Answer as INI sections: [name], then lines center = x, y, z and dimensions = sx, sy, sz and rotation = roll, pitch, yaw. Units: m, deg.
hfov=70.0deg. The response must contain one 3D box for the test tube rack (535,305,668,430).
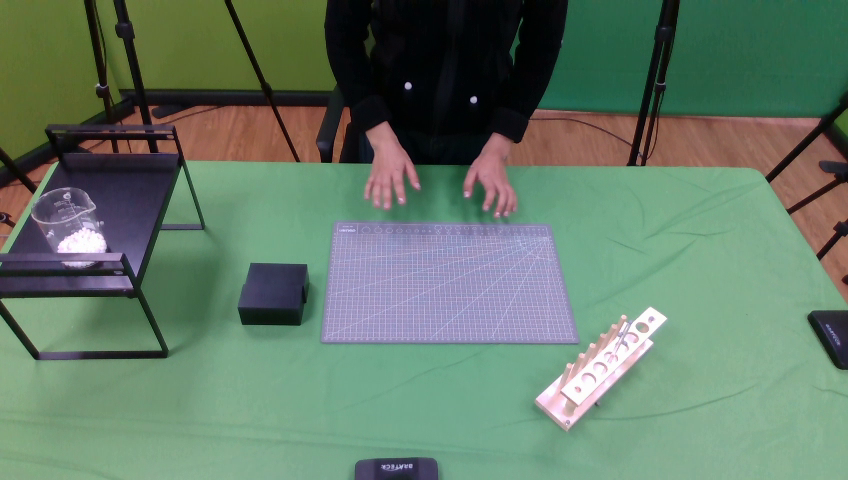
[test tube rack]
center = 0.290, 0.193, 0.984
dimensions = 0.242, 0.085, 0.066
rotation = -32, 56, -30

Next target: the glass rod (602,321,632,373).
[glass rod]
center = 0.286, 0.173, 0.913
dimensions = 0.008, 0.201, 0.008
rotation = -1, 53, 1

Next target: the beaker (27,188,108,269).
[beaker]
center = -0.502, -0.014, 0.869
dimensions = 0.084, 0.101, 0.073
rotation = -3, 47, -7
